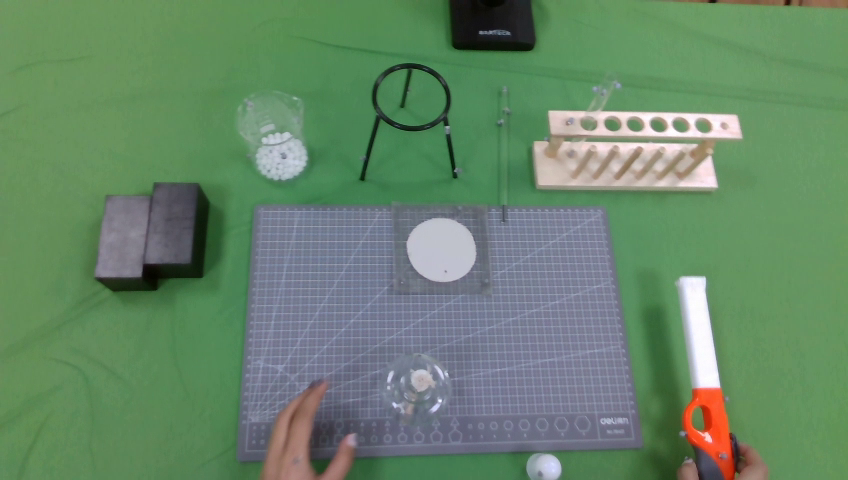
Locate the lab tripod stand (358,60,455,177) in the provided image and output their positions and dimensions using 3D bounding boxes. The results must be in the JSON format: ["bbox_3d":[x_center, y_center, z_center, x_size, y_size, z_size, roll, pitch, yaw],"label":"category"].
[{"bbox_3d":[-0.022,-0.145,0.737,0.148,0.132,0.147,1,68,-3],"label":"lab tripod stand"}]

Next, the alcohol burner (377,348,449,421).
[{"bbox_3d":[-0.010,0.149,0.637,0.078,0.120,0.077,3,67,-6],"label":"alcohol burner"}]

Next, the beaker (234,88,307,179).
[{"bbox_3d":[-0.179,-0.126,0.733,0.084,0.101,0.073,-38,77,-18],"label":"beaker"}]

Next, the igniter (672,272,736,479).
[{"bbox_3d":[0.309,0.170,0.674,0.057,0.025,0.275,1,72,-4],"label":"igniter"}]

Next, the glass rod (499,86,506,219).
[{"bbox_3d":[0.104,-0.119,0.805,0.008,0.008,0.198,5,71,-4],"label":"glass rod"}]

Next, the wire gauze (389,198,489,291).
[{"bbox_3d":[0.018,0.003,0.750,0.125,0.011,0.120,1,68,-4],"label":"wire gauze"}]

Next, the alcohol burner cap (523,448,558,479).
[{"bbox_3d":[0.129,0.242,0.658,0.034,0.048,0.033,2,68,-4],"label":"alcohol burner cap"}]

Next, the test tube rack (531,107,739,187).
[{"bbox_3d":[0.269,-0.117,0.781,0.243,0.085,0.066,0,69,-5],"label":"test tube rack"}]

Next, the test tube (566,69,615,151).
[{"bbox_3d":[0.199,-0.153,0.735,0.017,0.151,0.017,2,66,-3],"label":"test tube"}]
